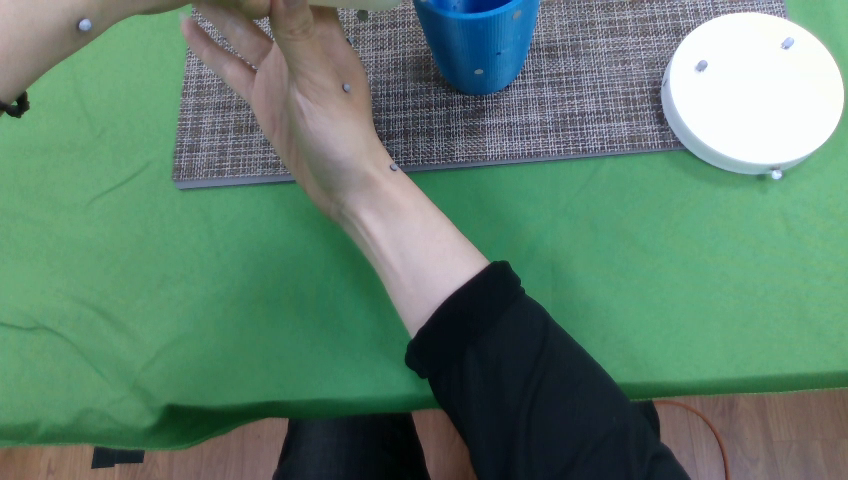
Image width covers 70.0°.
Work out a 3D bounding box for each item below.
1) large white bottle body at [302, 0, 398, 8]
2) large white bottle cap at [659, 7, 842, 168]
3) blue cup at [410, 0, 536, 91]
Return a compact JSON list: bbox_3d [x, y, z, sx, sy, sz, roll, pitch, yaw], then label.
[{"bbox_3d":[-0.067,-0.186,0.293,0.185,0.131,0.130,3,72,-5],"label":"large white bottle body"},{"bbox_3d":[0.220,-0.104,0.410,0.115,0.018,0.114,-1,75,3],"label":"large white bottle cap"},{"bbox_3d":[0.034,-0.151,0.399,0.092,0.101,0.092,-3,71,8],"label":"blue cup"}]
